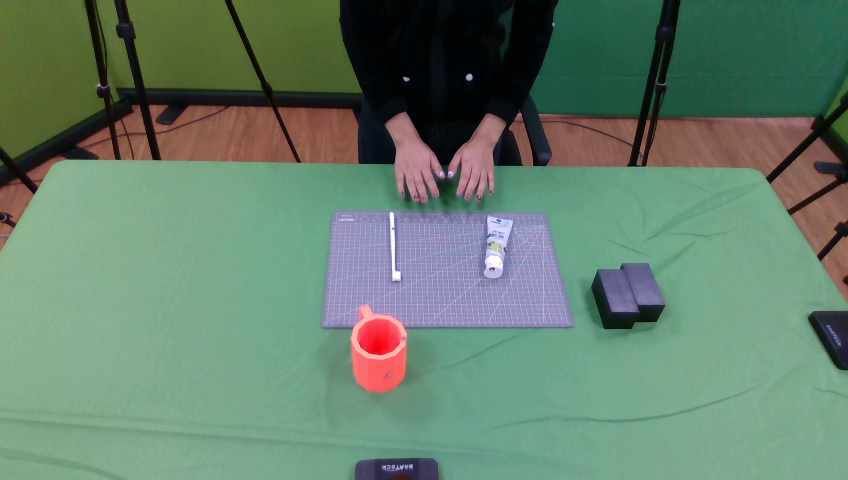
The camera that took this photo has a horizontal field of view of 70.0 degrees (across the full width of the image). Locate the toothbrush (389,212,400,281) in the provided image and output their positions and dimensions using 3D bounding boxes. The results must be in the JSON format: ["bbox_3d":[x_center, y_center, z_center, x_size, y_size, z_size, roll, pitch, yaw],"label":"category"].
[{"bbox_3d":[-0.059,0.010,1.186,0.017,0.014,0.180,1,46,-8],"label":"toothbrush"}]

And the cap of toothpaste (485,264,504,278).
[{"bbox_3d":[0.132,0.057,1.137,0.037,0.037,0.011,1,48,-2],"label":"cap of toothpaste"}]

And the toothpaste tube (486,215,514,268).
[{"bbox_3d":[0.147,0.005,1.197,0.055,0.034,0.164,14,43,0],"label":"toothpaste tube"}]

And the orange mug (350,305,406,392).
[{"bbox_3d":[-0.080,0.168,0.978,0.083,0.101,0.125,-16,54,-18],"label":"orange mug"}]
